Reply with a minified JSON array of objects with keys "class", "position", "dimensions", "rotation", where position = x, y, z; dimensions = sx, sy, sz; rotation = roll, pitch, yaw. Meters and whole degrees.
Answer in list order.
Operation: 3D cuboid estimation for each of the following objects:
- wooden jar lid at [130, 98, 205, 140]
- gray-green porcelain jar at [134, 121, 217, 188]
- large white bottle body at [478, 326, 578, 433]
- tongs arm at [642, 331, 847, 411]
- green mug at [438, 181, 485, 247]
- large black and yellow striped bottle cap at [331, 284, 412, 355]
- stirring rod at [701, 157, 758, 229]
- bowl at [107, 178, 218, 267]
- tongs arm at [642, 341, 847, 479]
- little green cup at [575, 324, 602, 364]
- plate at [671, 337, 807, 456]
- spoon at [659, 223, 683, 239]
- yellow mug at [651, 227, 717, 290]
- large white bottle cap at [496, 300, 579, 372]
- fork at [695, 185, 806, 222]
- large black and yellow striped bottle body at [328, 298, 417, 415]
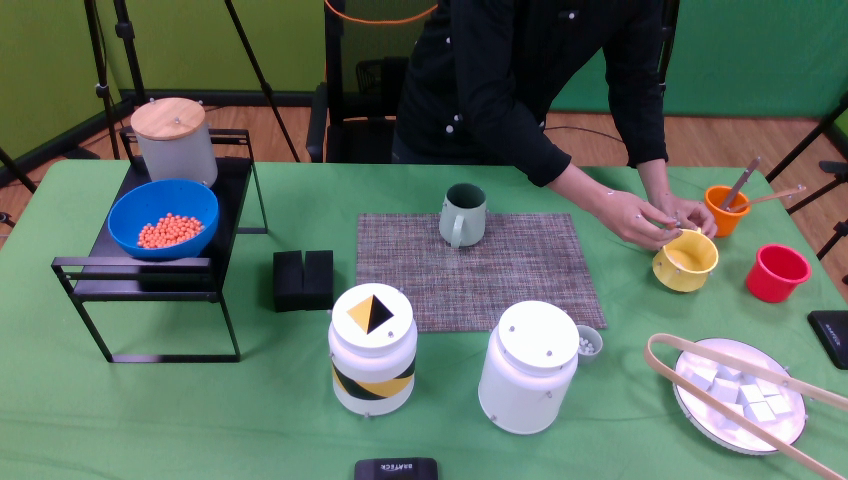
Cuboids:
[{"class":"wooden jar lid","position":[-0.393,-0.183,0.934],"dimensions":[0.108,0.021,0.107],"rotation":[2,43,-2]},{"class":"gray-green porcelain jar","position":[-0.397,-0.141,0.980],"dimensions":[0.106,0.127,0.105],"rotation":[2,47,-2]},{"class":"large white bottle body","position":[0.156,0.192,0.913],"dimensions":[0.131,0.185,0.130],"rotation":[2,46,-2]},{"class":"tongs arm","position":[0.546,0.227,0.968],"dimensions":[0.384,0.026,0.050],"rotation":[22,52,13]},{"class":"green mug","position":[0.071,-0.039,1.177],"dimensions":[0.092,0.105,0.124],"rotation":[12,47,7]},{"class":"large black and yellow striped bottle cap","position":[-0.073,0.110,0.857],"dimensions":[0.115,0.019,0.114],"rotation":[2,46,-1]},{"class":"stirring rod","position":[0.634,-0.096,1.257],"dimensions":[0.014,0.006,0.176],"rotation":[38,97,29]},{"class":"bowl","position":[-0.374,-0.014,0.893],"dimensions":[0.151,0.077,0.150],"rotation":[2,46,-2]},{"class":"tongs arm","position":[0.504,0.278,0.918],"dimensions":[0.386,0.028,0.028],"rotation":[34,59,22]},{"class":"little green cup","position":[0.269,0.179,1.035],"dimensions":[0.061,0.039,0.061],"rotation":[3,46,-3]},{"class":"plate","position":[0.504,0.254,0.984],"dimensions":[0.208,0.039,0.206],"rotation":[2,46,-2]},{"class":"spoon","position":[0.413,-0.018,1.019],"dimensions":[0.041,0.194,0.021],"rotation":[-14,79,21]},{"class":"yellow mug","position":[0.495,0.025,1.147],"dimensions":[0.099,0.064,0.130],"rotation":[25,56,17]},{"class":"large white bottle cap","position":[0.159,0.133,0.852],"dimensions":[0.115,0.018,0.114],"rotation":[3,46,-3]},{"class":"fork","position":[0.658,-0.074,1.230],"dimensions":[0.207,0.019,0.028],"rotation":[-23,36,37]},{"class":"large black and yellow striped bottle body","position":[-0.078,0.167,0.920],"dimensions":[0.131,0.185,0.130],"rotation":[2,46,-2]}]
